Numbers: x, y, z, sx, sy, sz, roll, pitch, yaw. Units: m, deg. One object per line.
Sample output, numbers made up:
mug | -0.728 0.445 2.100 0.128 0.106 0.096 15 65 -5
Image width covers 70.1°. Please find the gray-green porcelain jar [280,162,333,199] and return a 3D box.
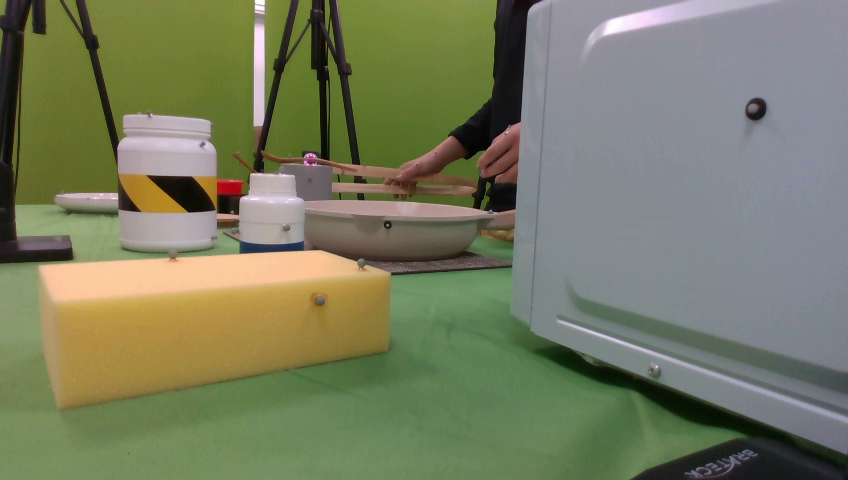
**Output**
gray-green porcelain jar | -0.238 -0.092 1.221 0.106 0.126 0.106 2 7 0

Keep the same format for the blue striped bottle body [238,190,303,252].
blue striped bottle body | -0.153 -0.007 0.606 0.063 0.120 0.063 2 8 0

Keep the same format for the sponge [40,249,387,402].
sponge | -0.142 0.047 0.419 0.208 0.061 0.117 -3 8 -36

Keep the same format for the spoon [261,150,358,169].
spoon | -0.229 -0.162 1.222 0.194 0.021 0.041 3 2 -16

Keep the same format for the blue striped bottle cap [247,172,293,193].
blue striped bottle cap | -0.152 -0.057 0.598 0.044 0.020 0.044 3 6 0

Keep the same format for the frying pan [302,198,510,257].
frying pan | 0.050 -0.035 0.915 0.487 0.102 0.307 -5 7 10

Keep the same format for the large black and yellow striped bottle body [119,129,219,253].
large black and yellow striped bottle body | -0.367 -0.080 0.876 0.131 0.184 0.130 1 7 0

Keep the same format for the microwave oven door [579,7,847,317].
microwave oven door | 0.294 -0.067 0.570 0.358 0.243 0.039 -3 9 -31

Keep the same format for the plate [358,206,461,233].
plate | -0.030 -0.041 1.213 0.208 0.039 0.207 3 7 0

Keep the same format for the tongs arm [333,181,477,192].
tongs arm | -0.056 -0.130 1.451 0.389 0.027 0.028 -2 -21 -20

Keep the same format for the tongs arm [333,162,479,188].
tongs arm | -0.031 -0.148 1.398 0.387 0.026 0.050 0 -19 -27

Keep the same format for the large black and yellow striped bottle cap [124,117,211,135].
large black and yellow striped bottle cap | -0.366 -0.163 0.866 0.115 0.019 0.115 3 7 0

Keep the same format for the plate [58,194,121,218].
plate | -0.671 -0.074 1.310 0.209 0.038 0.209 2 8 0

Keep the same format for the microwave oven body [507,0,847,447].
microwave oven body | 0.331 -0.042 0.425 0.444 0.260 0.324 -2 8 -31

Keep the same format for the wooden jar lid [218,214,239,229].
wooden jar lid | -0.404 -0.037 1.169 0.108 0.020 0.108 3 7 0

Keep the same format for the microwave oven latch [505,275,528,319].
microwave oven latch | 0.100 0.041 0.471 0.079 0.029 0.030 -1 7 -28

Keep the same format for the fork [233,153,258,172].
fork | -0.396 -0.143 1.486 0.028 0.018 0.208 21 -26 45
